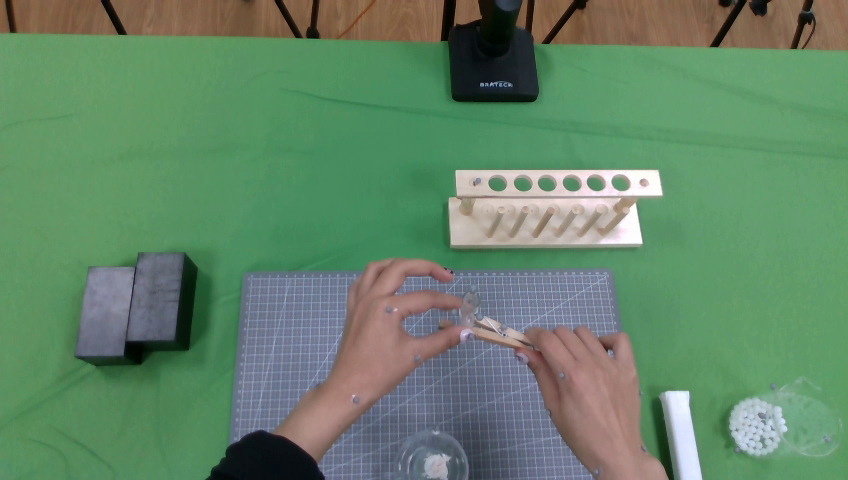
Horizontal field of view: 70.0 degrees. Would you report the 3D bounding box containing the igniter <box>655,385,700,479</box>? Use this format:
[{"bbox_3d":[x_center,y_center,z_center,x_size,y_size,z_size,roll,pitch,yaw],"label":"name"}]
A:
[{"bbox_3d":[0.287,0.296,0.650,0.057,0.025,0.274,4,69,-14],"label":"igniter"}]

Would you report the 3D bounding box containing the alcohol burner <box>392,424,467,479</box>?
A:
[{"bbox_3d":[0.007,0.222,0.605,0.078,0.120,0.077,1,66,-3],"label":"alcohol burner"}]

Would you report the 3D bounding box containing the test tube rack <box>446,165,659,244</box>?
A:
[{"bbox_3d":[0.153,-0.042,0.736,0.243,0.085,0.066,-1,69,-5],"label":"test tube rack"}]

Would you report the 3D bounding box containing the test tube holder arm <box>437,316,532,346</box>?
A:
[{"bbox_3d":[0.055,0.084,0.554,0.088,0.015,0.010,12,74,0],"label":"test tube holder arm"}]

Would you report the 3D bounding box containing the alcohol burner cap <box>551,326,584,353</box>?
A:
[{"bbox_3d":[0.168,0.115,0.698,0.034,0.048,0.033,2,69,-4],"label":"alcohol burner cap"}]

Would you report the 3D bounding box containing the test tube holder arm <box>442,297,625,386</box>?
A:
[{"bbox_3d":[0.099,0.093,0.554,0.178,0.015,0.013,23,75,3],"label":"test tube holder arm"}]

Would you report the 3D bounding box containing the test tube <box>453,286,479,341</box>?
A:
[{"bbox_3d":[0.037,0.071,0.552,0.017,0.151,0.017,0,69,0],"label":"test tube"}]

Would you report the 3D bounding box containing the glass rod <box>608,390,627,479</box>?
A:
[{"bbox_3d":[0.218,0.265,0.663,0.008,0.008,0.198,-1,69,-5],"label":"glass rod"}]

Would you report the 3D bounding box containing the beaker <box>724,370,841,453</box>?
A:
[{"bbox_3d":[0.383,0.190,0.659,0.074,0.101,0.083,12,68,1],"label":"beaker"}]
